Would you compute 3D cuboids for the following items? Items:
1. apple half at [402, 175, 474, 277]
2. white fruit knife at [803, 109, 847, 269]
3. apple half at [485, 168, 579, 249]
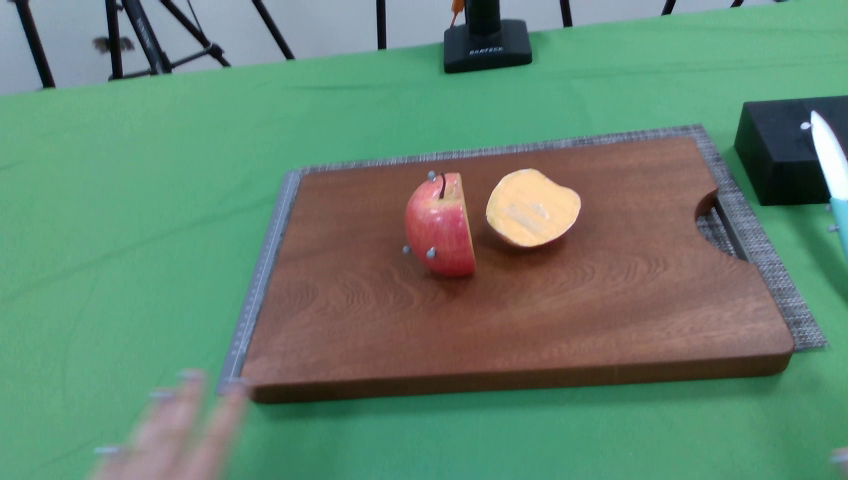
[{"bbox_3d":[0.010,-0.008,0.499,0.053,0.075,0.080,-12,45,5],"label":"apple half"},{"bbox_3d":[0.343,-0.028,0.495,0.027,0.016,0.205,-3,60,8],"label":"white fruit knife"},{"bbox_3d":[0.090,-0.020,0.525,0.081,0.033,0.080,-4,58,6],"label":"apple half"}]
